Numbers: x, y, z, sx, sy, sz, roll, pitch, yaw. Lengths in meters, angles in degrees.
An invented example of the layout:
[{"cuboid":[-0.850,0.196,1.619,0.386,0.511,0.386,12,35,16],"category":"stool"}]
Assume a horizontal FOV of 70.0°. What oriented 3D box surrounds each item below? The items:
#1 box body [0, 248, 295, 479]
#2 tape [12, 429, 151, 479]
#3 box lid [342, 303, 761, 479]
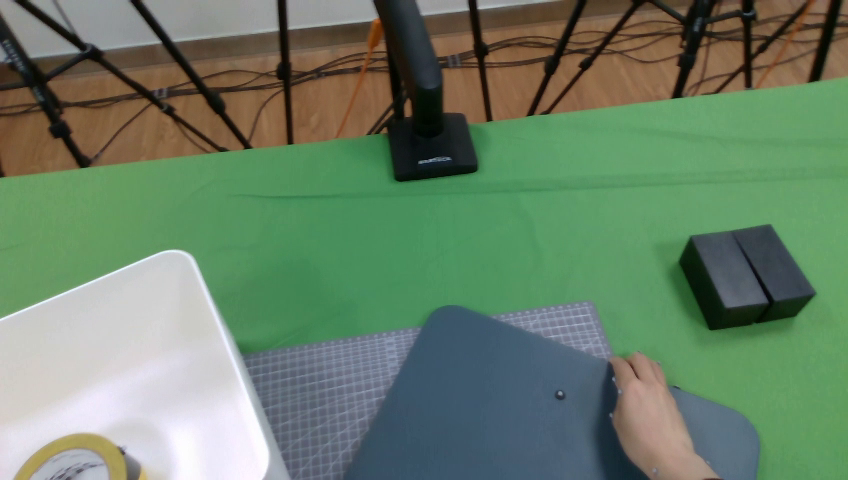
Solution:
[{"cuboid":[-0.321,0.205,0.536,0.364,0.162,0.251,-25,57,-15],"category":"box body"},{"cuboid":[-0.324,0.241,0.571,0.117,0.053,0.115,-1,53,1],"category":"tape"},{"cuboid":[0.130,0.221,0.602,0.370,0.015,0.262,19,56,16],"category":"box lid"}]
